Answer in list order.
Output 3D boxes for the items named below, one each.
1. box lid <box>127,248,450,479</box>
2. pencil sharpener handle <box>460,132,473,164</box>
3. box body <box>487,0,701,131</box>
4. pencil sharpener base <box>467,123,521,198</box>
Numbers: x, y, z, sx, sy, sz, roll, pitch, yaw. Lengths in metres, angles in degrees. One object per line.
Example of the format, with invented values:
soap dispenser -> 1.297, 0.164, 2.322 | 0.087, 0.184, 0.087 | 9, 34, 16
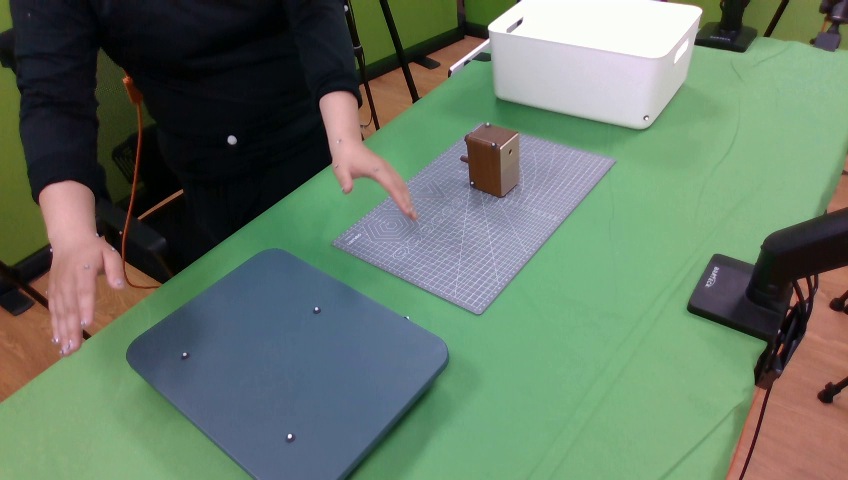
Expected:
box lid -> -0.177, 0.145, 0.768 | 0.368, 0.015, 0.264 | 24, 50, 32
pencil sharpener handle -> 0.077, -0.163, 1.062 | 0.030, 0.068, 0.036 | 23, 43, 32
box body -> 0.345, -0.379, 1.257 | 0.361, 0.161, 0.255 | 20, 48, 29
pencil sharpener base -> 0.119, -0.138, 1.044 | 0.076, 0.107, 0.061 | 23, 50, 32
